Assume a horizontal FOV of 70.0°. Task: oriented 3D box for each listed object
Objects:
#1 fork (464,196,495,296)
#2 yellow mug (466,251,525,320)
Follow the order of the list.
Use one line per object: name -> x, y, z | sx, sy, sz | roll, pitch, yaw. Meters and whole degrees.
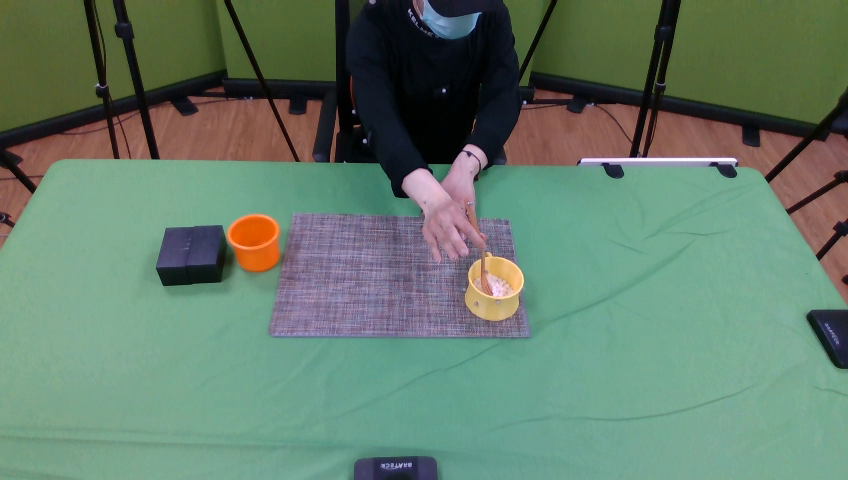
fork -> 0.097, 0.018, 1.049 | 0.018, 0.208, 0.028 | -1, 29, 25
yellow mug -> 0.125, 0.074, 1.096 | 0.100, 0.064, 0.130 | -4, 46, -7
